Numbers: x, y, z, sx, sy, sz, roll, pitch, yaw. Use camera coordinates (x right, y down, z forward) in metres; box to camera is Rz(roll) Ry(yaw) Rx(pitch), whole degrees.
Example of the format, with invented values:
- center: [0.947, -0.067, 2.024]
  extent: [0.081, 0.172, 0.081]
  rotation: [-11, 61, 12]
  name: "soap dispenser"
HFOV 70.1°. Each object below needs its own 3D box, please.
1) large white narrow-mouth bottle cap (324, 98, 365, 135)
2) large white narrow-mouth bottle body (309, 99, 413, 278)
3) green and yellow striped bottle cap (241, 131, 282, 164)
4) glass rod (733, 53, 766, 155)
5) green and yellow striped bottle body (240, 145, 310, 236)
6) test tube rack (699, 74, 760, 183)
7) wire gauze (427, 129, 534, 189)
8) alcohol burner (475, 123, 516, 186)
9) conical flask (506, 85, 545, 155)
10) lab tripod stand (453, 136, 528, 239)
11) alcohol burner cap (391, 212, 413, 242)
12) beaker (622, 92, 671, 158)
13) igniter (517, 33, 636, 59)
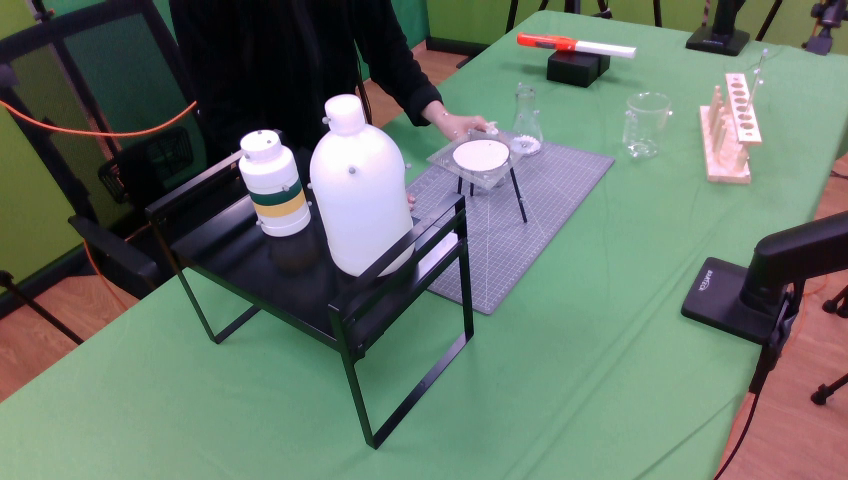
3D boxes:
- center: [-0.076, -0.120, 0.585]
  extent: [0.038, 0.024, 0.037]
  rotation: [-3, 42, 3]
  name: "large white narrow-mouth bottle cap"
- center: [-0.069, -0.057, 0.644]
  extent: [0.102, 0.195, 0.101]
  rotation: [-3, 42, 4]
  name: "large white narrow-mouth bottle body"
- center: [-0.187, -0.107, 0.695]
  extent: [0.045, 0.020, 0.045]
  rotation: [-3, 39, 3]
  name: "green and yellow striped bottle cap"
- center: [0.540, -0.219, 1.006]
  extent: [0.008, 0.201, 0.008]
  rotation: [-5, 45, 6]
  name: "glass rod"
- center: [-0.181, -0.068, 0.729]
  extent: [0.063, 0.120, 0.063]
  rotation: [-4, 40, 4]
  name: "green and yellow striped bottle body"
- center: [0.547, -0.208, 1.095]
  extent: [0.066, 0.085, 0.242]
  rotation: [6, 42, 16]
  name: "test tube rack"
- center: [0.086, -0.131, 0.923]
  extent: [0.124, 0.011, 0.122]
  rotation: [26, 52, 33]
  name: "wire gauze"
- center: [0.123, -0.155, 1.066]
  extent: [0.078, 0.119, 0.077]
  rotation: [-3, 43, 3]
  name: "alcohol burner"
- center: [0.190, -0.227, 1.134]
  extent: [0.075, 0.122, 0.075]
  rotation: [-4, 41, 4]
  name: "conical flask"
- center: [0.094, -0.086, 0.974]
  extent: [0.148, 0.132, 0.147]
  rotation: [-4, 43, 4]
  name: "lab tripod stand"
- center: [-0.038, -0.023, 0.990]
  extent: [0.034, 0.048, 0.033]
  rotation: [-5, 40, 4]
  name: "alcohol burner cap"
- center: [0.402, -0.210, 1.106]
  extent: [0.074, 0.101, 0.083]
  rotation: [-9, 40, -2]
  name: "beaker"
- center: [0.336, -0.441, 1.369]
  extent: [0.275, 0.025, 0.057]
  rotation: [16, 41, 23]
  name: "igniter"
